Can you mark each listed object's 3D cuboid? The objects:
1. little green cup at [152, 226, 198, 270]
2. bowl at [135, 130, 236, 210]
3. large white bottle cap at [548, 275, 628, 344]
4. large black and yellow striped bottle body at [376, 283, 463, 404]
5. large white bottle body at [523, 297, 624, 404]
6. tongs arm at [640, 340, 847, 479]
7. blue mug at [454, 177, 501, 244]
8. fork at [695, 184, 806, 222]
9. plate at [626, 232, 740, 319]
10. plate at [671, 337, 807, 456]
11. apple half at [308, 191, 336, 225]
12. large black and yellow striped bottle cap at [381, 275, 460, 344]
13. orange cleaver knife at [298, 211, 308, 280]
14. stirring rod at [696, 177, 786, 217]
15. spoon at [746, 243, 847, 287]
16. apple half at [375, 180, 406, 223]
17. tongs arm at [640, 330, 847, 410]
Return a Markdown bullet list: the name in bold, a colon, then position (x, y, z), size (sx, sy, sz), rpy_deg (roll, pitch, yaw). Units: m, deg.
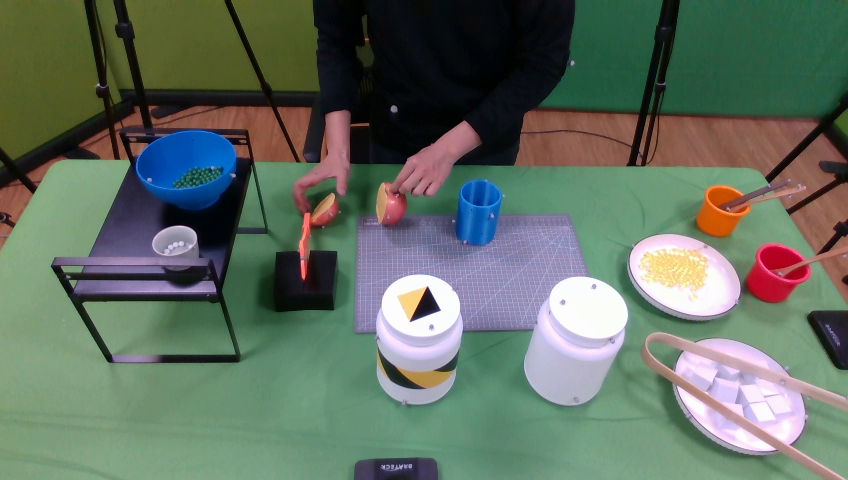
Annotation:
- **little green cup**: position (-0.364, 0.013, 0.894), size (0.061, 0.039, 0.061), rpy_deg (3, 46, -3)
- **bowl**: position (-0.375, -0.102, 0.978), size (0.151, 0.077, 0.150), rpy_deg (2, 46, -2)
- **large white bottle cap**: position (0.240, 0.100, 0.890), size (0.115, 0.018, 0.114), rpy_deg (3, 47, -3)
- **large black and yellow striped bottle body**: position (-0.010, 0.155, 0.937), size (0.131, 0.185, 0.130), rpy_deg (2, 47, -2)
- **large white bottle body**: position (0.235, 0.159, 0.952), size (0.131, 0.185, 0.130), rpy_deg (2, 47, -2)
- **tongs arm**: position (0.500, 0.277, 0.919), size (0.386, 0.028, 0.028), rpy_deg (34, 59, 22)
- **blue mug**: position (0.106, -0.067, 1.208), size (0.082, 0.106, 0.116), rpy_deg (5, 46, 1)
- **fork**: position (0.658, -0.074, 1.229), size (0.207, 0.019, 0.028), rpy_deg (-24, 33, 36)
- **plate**: position (0.488, 0.071, 1.157), size (0.209, 0.038, 0.208), rpy_deg (3, 46, -3)
- **plate**: position (0.504, 0.254, 0.984), size (0.208, 0.039, 0.206), rpy_deg (2, 46, -2)
- **apple half**: position (-0.198, -0.059, 1.220), size (0.033, 0.081, 0.081), rpy_deg (42, 43, -22)
- **large black and yellow striped bottle cap**: position (-0.005, 0.099, 0.875), size (0.115, 0.019, 0.114), rpy_deg (2, 45, -2)
- **orange cleaver knife**: position (-0.223, 0.005, 1.124), size (0.012, 0.077, 0.210), rpy_deg (-4, 23, -7)
- **stirring rod**: position (0.648, -0.087, 1.244), size (0.176, 0.006, 0.014), rpy_deg (-25, 50, 29)
- **spoon**: position (0.702, 0.043, 1.126), size (0.194, 0.022, 0.041), rpy_deg (-29, 38, 30)
- **apple half**: position (-0.064, -0.074, 1.197), size (0.053, 0.075, 0.080), rpy_deg (5, 37, -21)
- **tongs arm**: position (0.543, 0.225, 0.969), size (0.384, 0.026, 0.050), rpy_deg (22, 52, 13)
